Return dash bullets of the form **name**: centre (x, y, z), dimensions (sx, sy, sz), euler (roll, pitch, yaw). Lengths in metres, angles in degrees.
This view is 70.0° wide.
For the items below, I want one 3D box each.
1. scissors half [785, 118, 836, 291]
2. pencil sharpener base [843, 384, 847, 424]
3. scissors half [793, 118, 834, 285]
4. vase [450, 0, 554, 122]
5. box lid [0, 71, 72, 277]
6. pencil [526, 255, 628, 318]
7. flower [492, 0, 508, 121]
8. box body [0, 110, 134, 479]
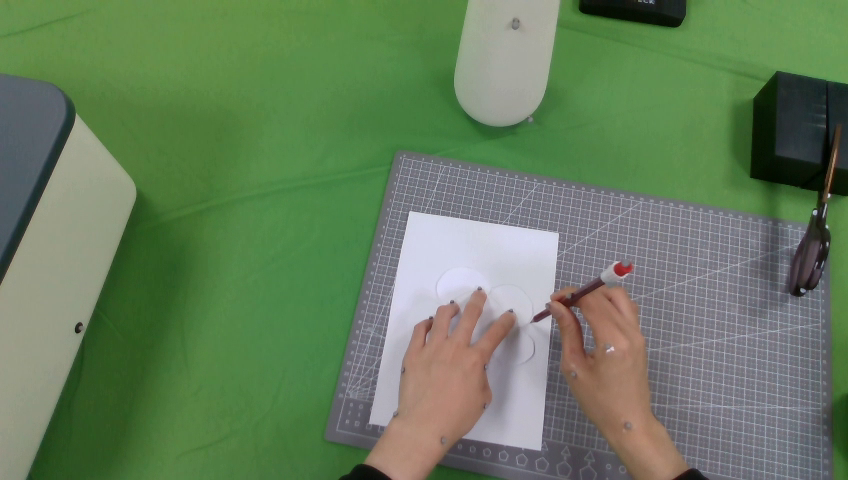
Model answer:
- **scissors half**: centre (0.375, -0.035, 0.585), dimensions (0.012, 0.040, 0.175), euler (15, 89, 20)
- **pencil sharpener base**: centre (0.413, 0.155, 0.503), dimensions (0.061, 0.107, 0.076), euler (6, 71, 2)
- **scissors half**: centre (0.370, -0.040, 0.566), dimensions (0.013, 0.040, 0.174), euler (16, 72, 15)
- **vase**: centre (0.075, -0.198, 0.575), dimensions (0.098, 0.201, 0.097), euler (0, 69, 1)
- **box lid**: centre (-0.439, 0.019, 0.434), dimensions (0.263, 0.015, 0.369), euler (11, 71, 3)
- **pencil**: centre (0.114, 0.044, 0.489), dimensions (0.012, 0.194, 0.012), euler (3, 71, -9)
- **flower**: centre (0.070, -0.240, 0.502), dimensions (0.044, 0.365, 0.038), euler (4, 53, 5)
- **box body**: centre (-0.439, 0.047, 0.504), dimensions (0.254, 0.161, 0.362), euler (11, 71, 3)
